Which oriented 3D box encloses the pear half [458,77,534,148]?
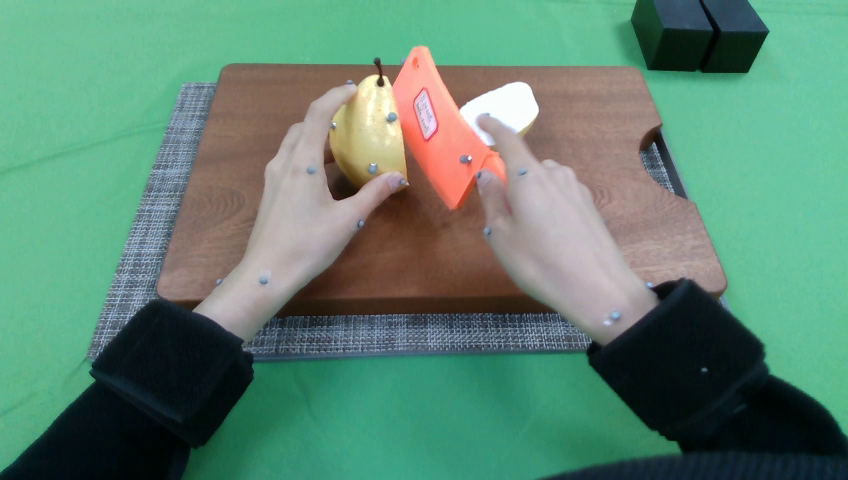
[{"bbox_3d":[0.058,-0.100,0.506,0.070,0.031,0.088,24,57,28],"label":"pear half"}]

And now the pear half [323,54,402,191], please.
[{"bbox_3d":[-0.046,-0.087,0.442,0.056,0.111,0.075,-14,50,-12],"label":"pear half"}]

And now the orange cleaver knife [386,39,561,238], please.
[{"bbox_3d":[0.023,-0.065,0.432,0.012,0.077,0.209,-7,49,-34],"label":"orange cleaver knife"}]
